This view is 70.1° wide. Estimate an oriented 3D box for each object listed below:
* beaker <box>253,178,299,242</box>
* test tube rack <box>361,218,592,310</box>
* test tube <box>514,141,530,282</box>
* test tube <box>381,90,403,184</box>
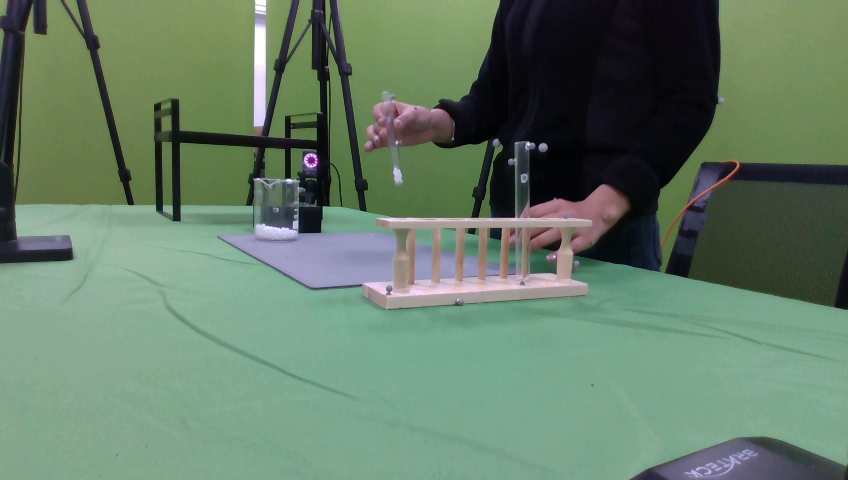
[{"bbox_3d":[-0.243,-0.050,0.990,0.074,0.100,0.084,2,9,1],"label":"beaker"},{"bbox_3d":[0.059,0.018,0.640,0.243,0.085,0.066,-1,8,-27],"label":"test tube rack"},{"bbox_3d":[0.103,-0.028,0.636,0.017,0.150,0.017,-2,12,1],"label":"test tube"},{"bbox_3d":[-0.049,-0.158,0.927,0.017,0.150,0.017,-8,-9,-1],"label":"test tube"}]
